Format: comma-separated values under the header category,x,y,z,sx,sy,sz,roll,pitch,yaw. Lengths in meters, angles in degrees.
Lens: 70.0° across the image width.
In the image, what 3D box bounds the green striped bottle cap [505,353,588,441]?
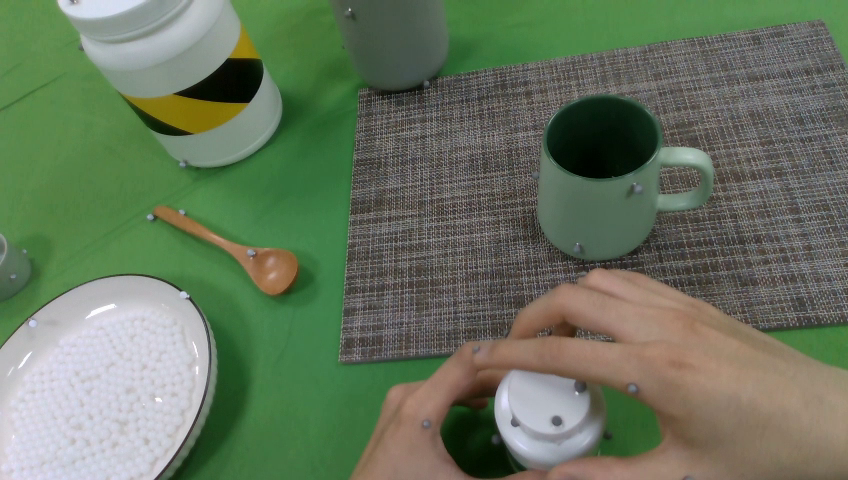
category,x,y,z,sx,sy,sz,roll,pitch,yaw
green striped bottle cap,0.066,0.084,0.326,0.044,0.020,0.044,-6,59,11

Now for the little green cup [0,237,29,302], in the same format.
category,x,y,z,sx,sy,sz,roll,pitch,yaw
little green cup,-0.413,0.029,0.575,0.061,0.039,0.061,-5,58,9

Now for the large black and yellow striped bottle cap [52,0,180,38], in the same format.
category,x,y,z,sx,sy,sz,roll,pitch,yaw
large black and yellow striped bottle cap,-0.247,-0.211,0.497,0.115,0.019,0.114,-5,57,8

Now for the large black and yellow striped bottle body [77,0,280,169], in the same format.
category,x,y,z,sx,sy,sz,roll,pitch,yaw
large black and yellow striped bottle body,-0.230,-0.169,0.568,0.130,0.186,0.129,-5,59,9

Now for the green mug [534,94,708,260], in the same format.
category,x,y,z,sx,sy,sz,roll,pitch,yaw
green mug,0.145,-0.044,0.454,0.125,0.106,0.092,2,59,13

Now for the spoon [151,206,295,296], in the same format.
category,x,y,z,sx,sy,sz,roll,pitch,yaw
spoon,-0.188,0.001,0.552,0.192,0.022,0.041,24,86,24

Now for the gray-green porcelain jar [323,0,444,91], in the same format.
category,x,y,z,sx,sy,sz,roll,pitch,yaw
gray-green porcelain jar,-0.038,-0.219,0.588,0.106,0.128,0.105,-6,54,9

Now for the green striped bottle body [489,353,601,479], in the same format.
category,x,y,z,sx,sy,sz,roll,pitch,yaw
green striped bottle body,0.075,0.110,0.371,0.063,0.120,0.062,-6,59,11

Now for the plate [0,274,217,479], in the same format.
category,x,y,z,sx,sy,sz,roll,pitch,yaw
plate,-0.259,0.126,0.483,0.209,0.038,0.207,-5,58,9
